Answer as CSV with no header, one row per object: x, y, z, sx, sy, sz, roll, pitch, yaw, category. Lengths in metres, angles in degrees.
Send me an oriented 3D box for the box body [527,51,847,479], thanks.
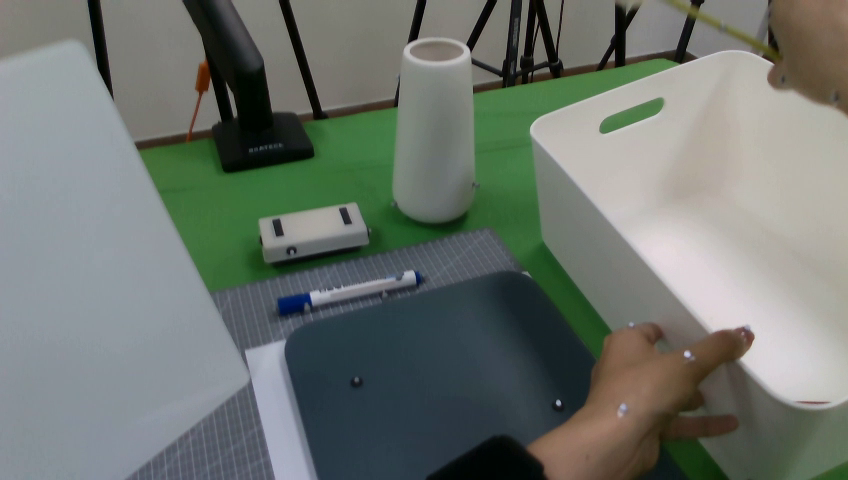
0.285,0.004,0.540,0.254,0.162,0.359,-21,43,-8,box body

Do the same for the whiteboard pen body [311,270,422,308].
-0.070,0.051,0.611,0.141,0.017,0.017,-11,42,-14,whiteboard pen body

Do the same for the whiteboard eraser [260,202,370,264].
-0.120,-0.006,0.663,0.113,0.042,0.055,-13,40,-15,whiteboard eraser

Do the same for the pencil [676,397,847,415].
0.310,0.138,0.498,0.193,0.012,0.012,-1,39,12,pencil

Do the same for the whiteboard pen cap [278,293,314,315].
-0.126,0.063,0.595,0.033,0.018,0.018,-9,41,-16,whiteboard pen cap

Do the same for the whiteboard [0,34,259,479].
-0.299,0.039,0.441,0.142,0.308,0.217,11,38,42,whiteboard

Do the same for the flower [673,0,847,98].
0.261,-0.118,0.416,0.360,0.038,0.044,35,22,10,flower

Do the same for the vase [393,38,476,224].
0.015,-0.116,0.675,0.098,0.202,0.097,2,40,-1,vase

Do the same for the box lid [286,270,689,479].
0.053,0.170,0.479,0.264,0.015,0.367,-14,43,-17,box lid
